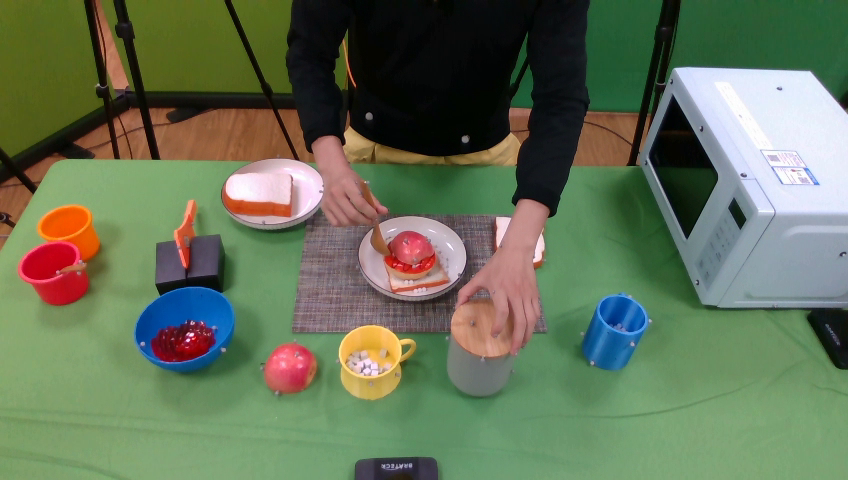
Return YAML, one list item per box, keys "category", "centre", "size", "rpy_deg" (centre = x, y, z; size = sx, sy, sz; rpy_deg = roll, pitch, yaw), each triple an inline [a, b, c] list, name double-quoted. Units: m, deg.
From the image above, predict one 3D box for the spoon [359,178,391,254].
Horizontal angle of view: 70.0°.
- category: "spoon"
  centre: [-0.084, -0.036, 0.994]
  size: [0.041, 0.195, 0.021]
  rpy_deg: [26, 57, 26]

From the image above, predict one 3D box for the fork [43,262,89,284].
- category: "fork"
  centre: [-0.599, 0.053, 1.013]
  size: [0.207, 0.019, 0.028]
  rpy_deg: [-14, 30, 45]

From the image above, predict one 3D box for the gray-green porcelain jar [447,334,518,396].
- category: "gray-green porcelain jar"
  centre: [0.091, 0.178, 0.960]
  size: [0.106, 0.127, 0.105]
  rpy_deg: [2, 46, -2]

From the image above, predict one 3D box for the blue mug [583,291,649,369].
- category: "blue mug"
  centre: [0.324, 0.142, 1.023]
  size: [0.082, 0.106, 0.116]
  rpy_deg: [15, 47, 11]

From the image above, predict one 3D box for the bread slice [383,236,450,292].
- category: "bread slice"
  centre: [-0.025, 0.040, 1.141]
  size: [0.107, 0.018, 0.133]
  rpy_deg: [-12, 47, -17]

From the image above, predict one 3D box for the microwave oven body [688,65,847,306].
- category: "microwave oven body"
  centre: [0.669, -0.111, 1.176]
  size: [0.326, 0.261, 0.439]
  rpy_deg: [0, 46, -3]

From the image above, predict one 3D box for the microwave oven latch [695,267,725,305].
- category: "microwave oven latch"
  centre: [0.524, 0.082, 1.115]
  size: [0.030, 0.029, 0.078]
  rpy_deg: [5, 46, 2]

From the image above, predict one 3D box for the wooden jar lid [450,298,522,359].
- category: "wooden jar lid"
  centre: [0.093, 0.135, 0.915]
  size: [0.108, 0.021, 0.107]
  rpy_deg: [3, 48, -3]

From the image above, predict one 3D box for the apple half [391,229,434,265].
- category: "apple half"
  centre: [-0.021, 0.003, 1.085]
  size: [0.081, 0.033, 0.081]
  rpy_deg: [7, 44, -7]

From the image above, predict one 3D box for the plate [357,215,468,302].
- category: "plate"
  centre: [-0.022, 0.037, 1.141]
  size: [0.208, 0.039, 0.206]
  rpy_deg: [2, 46, -2]

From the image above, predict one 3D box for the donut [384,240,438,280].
- category: "donut"
  centre: [-0.025, 0.029, 1.109]
  size: [0.099, 0.048, 0.098]
  rpy_deg: [2, 47, -2]

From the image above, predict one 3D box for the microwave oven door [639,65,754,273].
- category: "microwave oven door"
  centre: [0.522, -0.147, 1.193]
  size: [0.039, 0.245, 0.353]
  rpy_deg: [0, 47, -3]

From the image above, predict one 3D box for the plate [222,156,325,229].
- category: "plate"
  centre: [-0.308, -0.095, 1.251]
  size: [0.209, 0.038, 0.208]
  rpy_deg: [2, 47, -2]

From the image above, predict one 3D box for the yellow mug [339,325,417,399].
- category: "yellow mug"
  centre: [-0.072, 0.190, 0.978]
  size: [0.131, 0.064, 0.099]
  rpy_deg: [-17, 50, -20]

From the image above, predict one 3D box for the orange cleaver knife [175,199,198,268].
- category: "orange cleaver knife"
  centre: [-0.438, -0.017, 1.138]
  size: [0.012, 0.077, 0.210]
  rpy_deg: [-14, 27, -7]

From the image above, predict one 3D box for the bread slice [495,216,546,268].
- category: "bread slice"
  centre: [0.194, 0.002, 1.205]
  size: [0.105, 0.019, 0.131]
  rpy_deg: [5, 45, 2]

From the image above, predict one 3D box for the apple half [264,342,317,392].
- category: "apple half"
  centre: [-0.214, 0.198, 0.970]
  size: [0.074, 0.053, 0.080]
  rpy_deg: [19, 48, 10]

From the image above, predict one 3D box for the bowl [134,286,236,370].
- category: "bowl"
  centre: [-0.377, 0.155, 0.981]
  size: [0.151, 0.077, 0.150]
  rpy_deg: [2, 46, -2]
